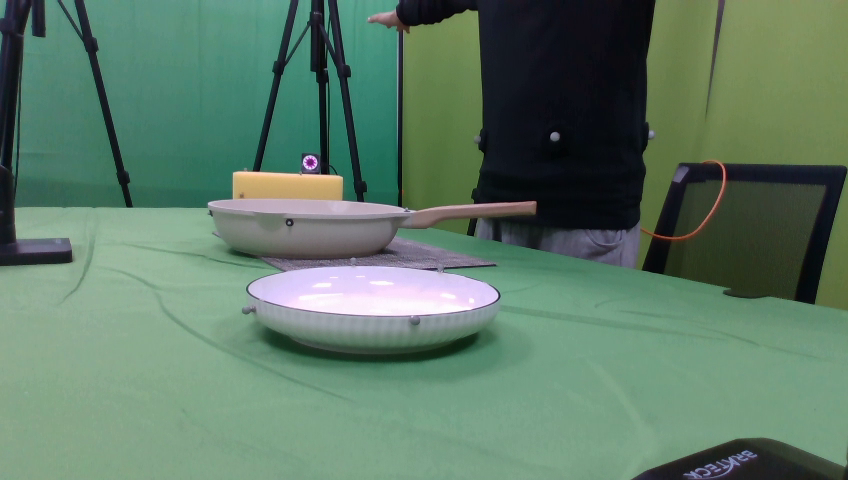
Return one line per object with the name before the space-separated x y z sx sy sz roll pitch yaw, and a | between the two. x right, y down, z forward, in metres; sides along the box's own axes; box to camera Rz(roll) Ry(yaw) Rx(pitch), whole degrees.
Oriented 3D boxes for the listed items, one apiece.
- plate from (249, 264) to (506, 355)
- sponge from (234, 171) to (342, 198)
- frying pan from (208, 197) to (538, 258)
plate | -0.037 0.056 0.504 0.208 0.039 0.207 2 7 0
sponge | -0.273 -0.105 1.224 0.207 0.061 0.118 0 7 -14
frying pan | -0.075 -0.034 0.912 0.487 0.102 0.307 -5 7 11
